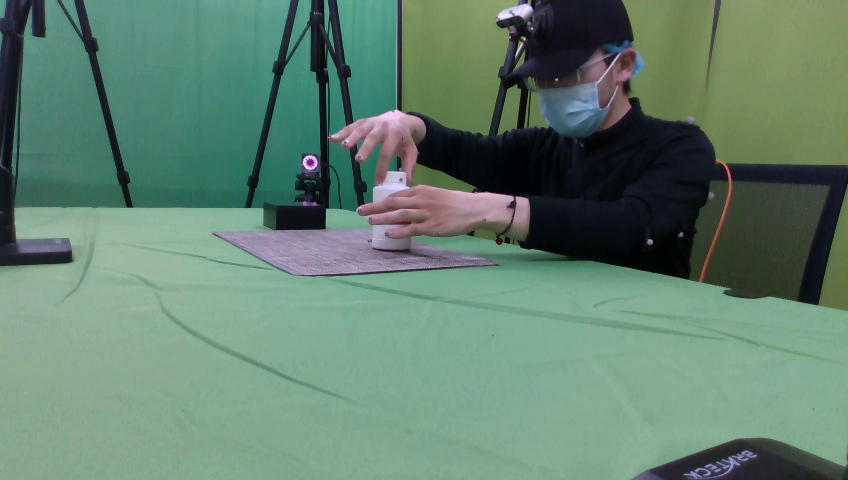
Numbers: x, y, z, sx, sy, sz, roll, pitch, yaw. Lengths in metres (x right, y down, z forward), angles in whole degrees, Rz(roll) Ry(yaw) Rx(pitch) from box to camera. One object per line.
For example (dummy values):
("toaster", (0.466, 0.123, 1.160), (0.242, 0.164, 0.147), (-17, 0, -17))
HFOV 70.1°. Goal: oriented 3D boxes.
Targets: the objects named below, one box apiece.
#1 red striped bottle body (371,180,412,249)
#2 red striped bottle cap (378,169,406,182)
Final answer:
("red striped bottle body", (-0.051, -0.048, 0.955), (0.063, 0.119, 0.063), (1, 4, 0))
("red striped bottle cap", (-0.050, -0.101, 0.949), (0.044, 0.017, 0.044), (1, 0, 0))
